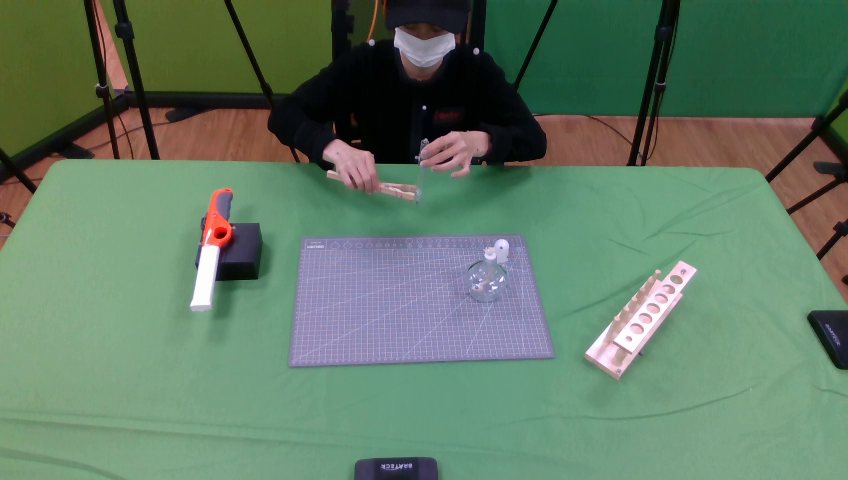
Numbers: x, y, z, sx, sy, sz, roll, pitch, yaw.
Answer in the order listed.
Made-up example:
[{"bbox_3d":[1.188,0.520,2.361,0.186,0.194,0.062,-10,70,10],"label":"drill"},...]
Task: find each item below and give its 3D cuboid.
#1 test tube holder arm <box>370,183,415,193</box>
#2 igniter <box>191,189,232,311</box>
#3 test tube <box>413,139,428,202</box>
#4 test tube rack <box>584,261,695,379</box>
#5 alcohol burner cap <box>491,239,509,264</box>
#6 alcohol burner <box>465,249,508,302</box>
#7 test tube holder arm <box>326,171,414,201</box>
[{"bbox_3d":[-0.063,-0.102,1.192,0.088,0.015,0.010,3,41,-10],"label":"test tube holder arm"},{"bbox_3d":[-0.381,0.008,1.092,0.057,0.025,0.274,-1,50,-7],"label":"igniter"},{"bbox_3d":[-0.008,-0.128,1.153,0.017,0.151,0.017,4,47,-4],"label":"test tube"},{"bbox_3d":[0.380,0.127,1.062,0.066,0.085,0.242,34,53,26],"label":"test tube rack"},{"bbox_3d":[0.150,0.020,1.174,0.034,0.048,0.033,2,46,-2],"label":"alcohol burner cap"},{"bbox_3d":[0.114,0.057,1.085,0.078,0.120,0.077,2,48,-2],"label":"alcohol burner"},{"bbox_3d":[-0.107,-0.106,1.187,0.178,0.015,0.013,14,39,4],"label":"test tube holder arm"}]
